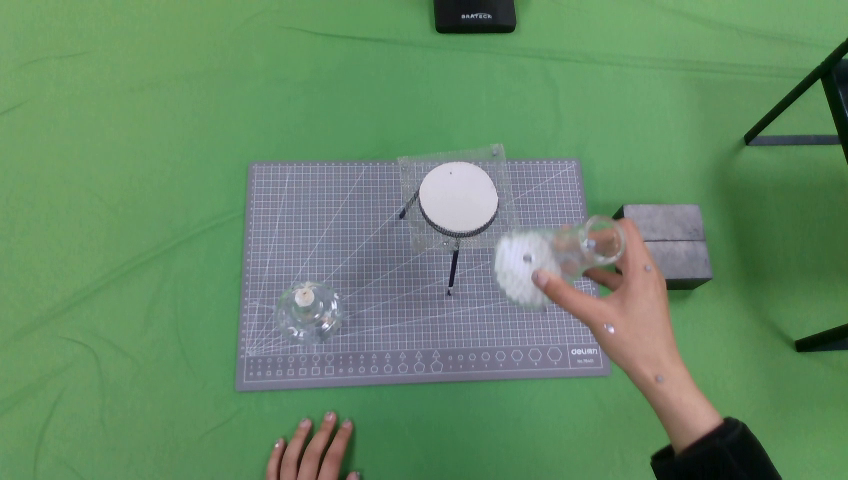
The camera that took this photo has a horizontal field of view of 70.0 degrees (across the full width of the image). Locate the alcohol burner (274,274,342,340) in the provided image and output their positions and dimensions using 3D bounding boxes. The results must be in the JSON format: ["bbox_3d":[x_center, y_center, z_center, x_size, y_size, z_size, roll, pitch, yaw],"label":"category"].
[{"bbox_3d":[-0.132,0.071,0.687,0.078,0.120,0.077,2,68,-5],"label":"alcohol burner"}]

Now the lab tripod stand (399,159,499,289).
[{"bbox_3d":[0.037,-0.031,0.725,0.148,0.132,0.147,2,69,-4],"label":"lab tripod stand"}]

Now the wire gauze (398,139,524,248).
[{"bbox_3d":[0.039,-0.051,0.661,0.125,0.011,0.120,-6,71,-7],"label":"wire gauze"}]

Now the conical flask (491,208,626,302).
[{"bbox_3d":[0.112,0.007,0.495,0.076,0.122,0.075,5,76,-19],"label":"conical flask"}]
